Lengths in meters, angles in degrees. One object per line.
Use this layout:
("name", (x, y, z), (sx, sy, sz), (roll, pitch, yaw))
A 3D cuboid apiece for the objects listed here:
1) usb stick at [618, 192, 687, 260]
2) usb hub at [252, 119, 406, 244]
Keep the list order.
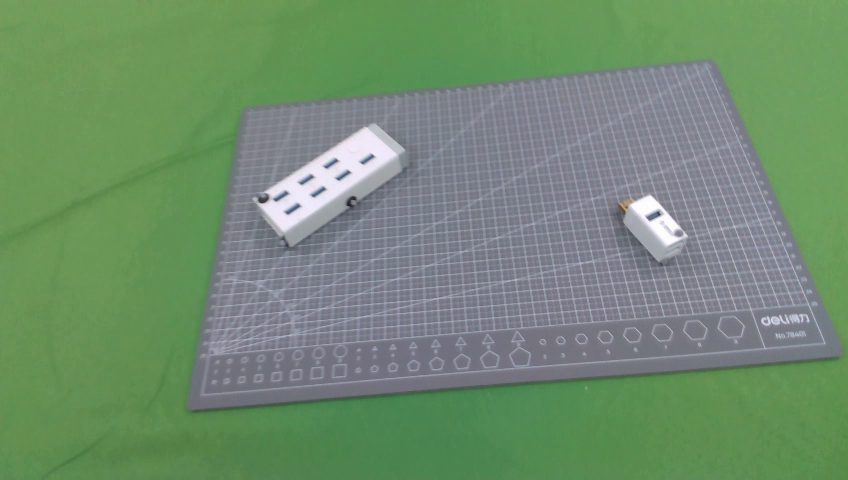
("usb stick", (0.169, -0.016, 0.458), (0.021, 0.027, 0.058), (-26, 56, -8))
("usb hub", (-0.078, -0.052, 0.509), (0.125, 0.025, 0.049), (-36, 60, -17))
